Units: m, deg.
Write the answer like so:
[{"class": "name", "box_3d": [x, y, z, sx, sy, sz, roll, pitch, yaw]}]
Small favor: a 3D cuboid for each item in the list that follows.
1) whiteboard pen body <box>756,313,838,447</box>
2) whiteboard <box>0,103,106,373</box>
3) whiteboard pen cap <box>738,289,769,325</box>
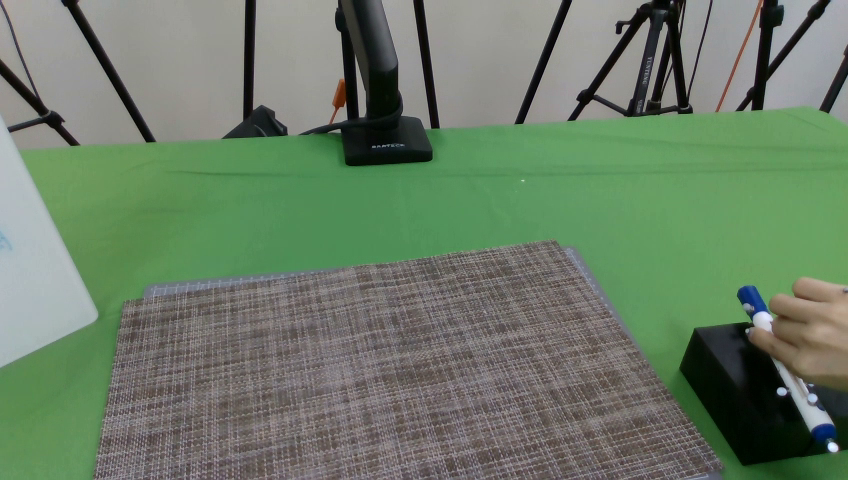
[{"class": "whiteboard pen body", "box_3d": [0.276, 0.093, 0.461, 0.017, 0.017, 0.139, 3, 38, 2]}, {"class": "whiteboard", "box_3d": [-0.448, -0.026, 0.489, 0.217, 0.307, 0.142, -31, 28, -36]}, {"class": "whiteboard pen cap", "box_3d": [0.278, 0.057, 0.510, 0.018, 0.018, 0.033, 2, 38, 1]}]
